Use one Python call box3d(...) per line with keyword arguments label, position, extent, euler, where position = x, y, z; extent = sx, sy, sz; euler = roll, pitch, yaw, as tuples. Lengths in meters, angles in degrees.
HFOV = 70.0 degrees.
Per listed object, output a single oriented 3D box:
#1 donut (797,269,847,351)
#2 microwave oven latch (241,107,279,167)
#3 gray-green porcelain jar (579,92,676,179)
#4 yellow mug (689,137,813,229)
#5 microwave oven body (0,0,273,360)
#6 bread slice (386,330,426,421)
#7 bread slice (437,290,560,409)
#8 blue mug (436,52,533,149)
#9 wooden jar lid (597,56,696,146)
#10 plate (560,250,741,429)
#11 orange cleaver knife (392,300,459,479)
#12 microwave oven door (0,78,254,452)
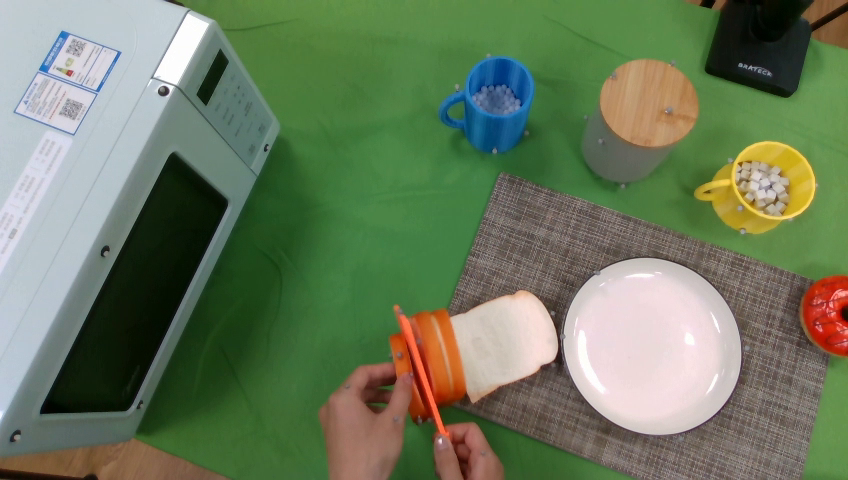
box3d(label="donut", position=(0.495, 0.083, 0.720), extent=(0.099, 0.048, 0.098), euler=(0, 77, 2))
box3d(label="microwave oven latch", position=(-0.216, -0.136, 0.782), extent=(0.030, 0.029, 0.079), euler=(24, 79, 7))
box3d(label="gray-green porcelain jar", position=(0.251, -0.139, 0.742), extent=(0.106, 0.127, 0.105), euler=(0, 76, 2))
box3d(label="yellow mug", position=(0.398, -0.068, 0.752), extent=(0.131, 0.064, 0.099), euler=(-3, 77, 2))
box3d(label="microwave oven body", position=(-0.422, -0.049, 0.670), extent=(0.325, 0.261, 0.440), euler=(20, 79, 6))
box3d(label="bread slice", position=(-0.021, 0.149, 0.683), extent=(0.018, 0.135, 0.106), euler=(-17, 75, -4))
box3d(label="bread slice", position=(0.097, 0.125, 0.728), extent=(0.131, 0.019, 0.104), euler=(-30, 87, -5))
box3d(label="blue mug", position=(0.073, -0.172, 0.766), extent=(0.116, 0.106, 0.082), euler=(-5, 76, 1))
box3d(label="wooden jar lid", position=(0.248, -0.154, 0.682), extent=(0.108, 0.021, 0.108), euler=(0, 75, 2))
box3d(label="plate", position=(0.264, 0.117, 0.723), extent=(0.207, 0.039, 0.206), euler=(0, 77, 2))
box3d(label="orange cleaver knife", position=(0.002, 0.164, 0.634), extent=(0.012, 0.077, 0.211), euler=(-18, 91, -7))
box3d(label="microwave oven door", position=(-0.303, 0.038, 0.640), extent=(0.039, 0.245, 0.354), euler=(20, 78, 7))
